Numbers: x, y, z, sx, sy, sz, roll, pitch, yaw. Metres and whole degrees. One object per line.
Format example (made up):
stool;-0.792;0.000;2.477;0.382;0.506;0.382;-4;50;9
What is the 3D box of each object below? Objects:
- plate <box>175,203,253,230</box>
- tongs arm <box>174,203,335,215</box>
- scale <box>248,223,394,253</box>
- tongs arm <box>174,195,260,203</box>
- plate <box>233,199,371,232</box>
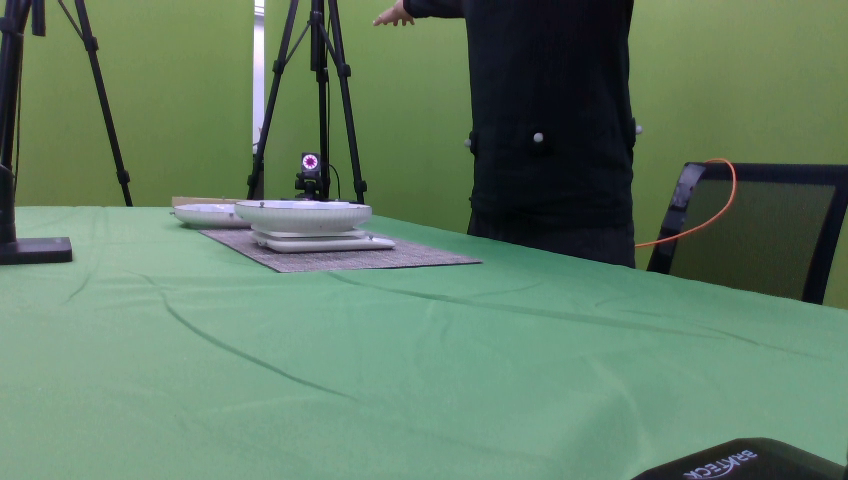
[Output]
plate;-0.381;-0.047;1.199;0.208;0.039;0.207;3;7;0
tongs arm;-0.384;-0.073;1.428;0.390;0.028;0.028;-1;5;-33
scale;-0.162;-0.006;0.954;0.202;0.031;0.148;-2;8;-32
tongs arm;-0.418;-0.088;1.508;0.386;0.026;0.050;2;7;-18
plate;-0.188;-0.039;0.939;0.209;0.038;0.209;2;7;0
